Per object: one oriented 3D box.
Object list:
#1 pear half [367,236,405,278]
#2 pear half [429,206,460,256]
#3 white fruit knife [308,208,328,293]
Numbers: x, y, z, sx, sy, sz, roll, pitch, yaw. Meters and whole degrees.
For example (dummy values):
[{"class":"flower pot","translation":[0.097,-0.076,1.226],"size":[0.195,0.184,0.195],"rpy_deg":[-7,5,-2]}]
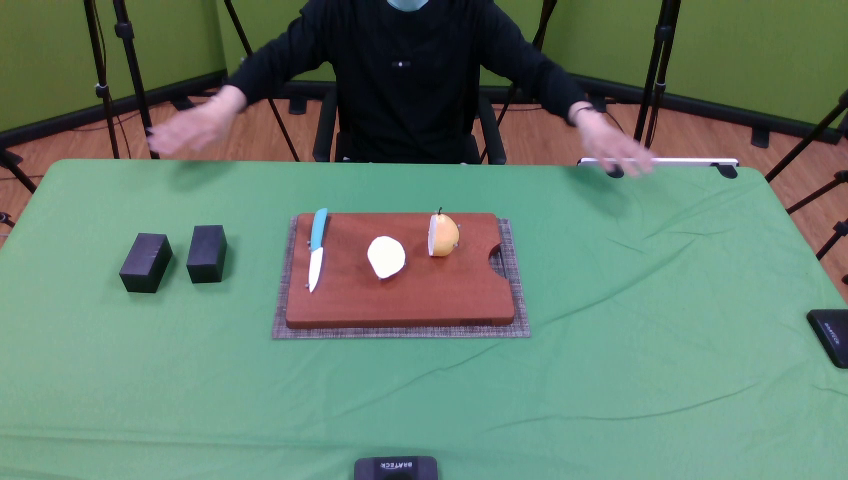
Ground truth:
[{"class":"pear half","translation":[-0.072,0.036,1.106],"size":[0.070,0.031,0.087],"rpy_deg":[18,59,-7]},{"class":"pear half","translation":[0.039,-0.021,1.117],"size":[0.056,0.110,0.076],"rpy_deg":[-5,50,-9]},{"class":"white fruit knife","translation":[-0.201,0.016,1.128],"size":[0.027,0.016,0.206],"rpy_deg":[-9,46,8]}]
